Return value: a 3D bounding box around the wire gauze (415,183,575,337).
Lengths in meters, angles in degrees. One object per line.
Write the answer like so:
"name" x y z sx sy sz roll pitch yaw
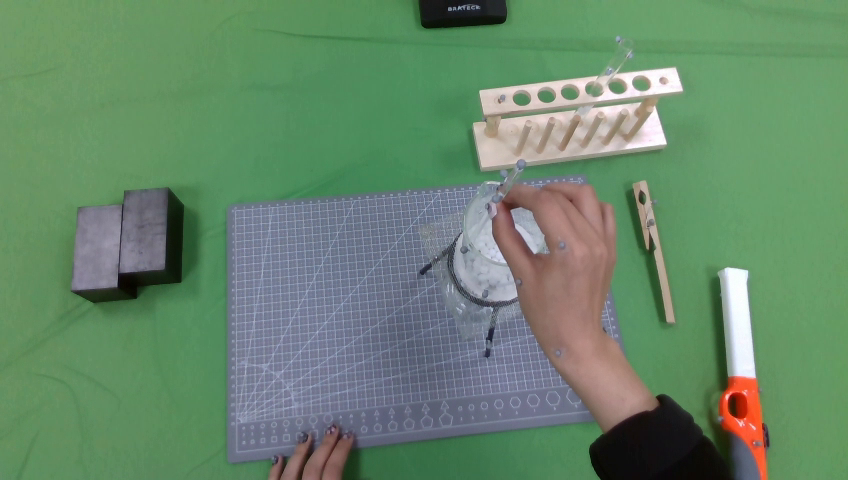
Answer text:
"wire gauze" 0.068 0.015 0.593 0.121 0.011 0.124 -22 74 -6

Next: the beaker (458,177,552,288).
"beaker" 0.067 -0.003 0.548 0.074 0.101 0.083 -20 72 -6

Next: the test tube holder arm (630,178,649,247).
"test tube holder arm" 0.270 -0.034 0.752 0.010 0.015 0.087 -16 70 29

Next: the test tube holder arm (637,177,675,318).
"test tube holder arm" 0.280 0.007 0.735 0.013 0.015 0.177 -17 69 28

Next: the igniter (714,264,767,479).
"igniter" 0.353 0.160 0.683 0.057 0.025 0.275 9 71 -10

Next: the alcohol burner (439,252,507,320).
"alcohol burner" 0.055 0.045 0.663 0.078 0.120 0.077 0 69 -1

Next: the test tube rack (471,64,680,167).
"test tube rack" 0.186 -0.153 0.753 0.242 0.085 0.066 -8 71 -4

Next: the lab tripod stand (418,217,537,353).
"lab tripod stand" 0.061 0.040 0.654 0.148 0.132 0.147 0 72 0

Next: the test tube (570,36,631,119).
"test tube" 0.204 -0.186 0.713 0.017 0.151 0.017 3 69 -7

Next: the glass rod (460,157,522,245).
"glass rod" 0.049 -0.026 0.495 0.008 0.200 0.008 2 74 -7

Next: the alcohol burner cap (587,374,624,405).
"alcohol burner cap" 0.202 0.162 0.665 0.034 0.048 0.033 1 70 -2
